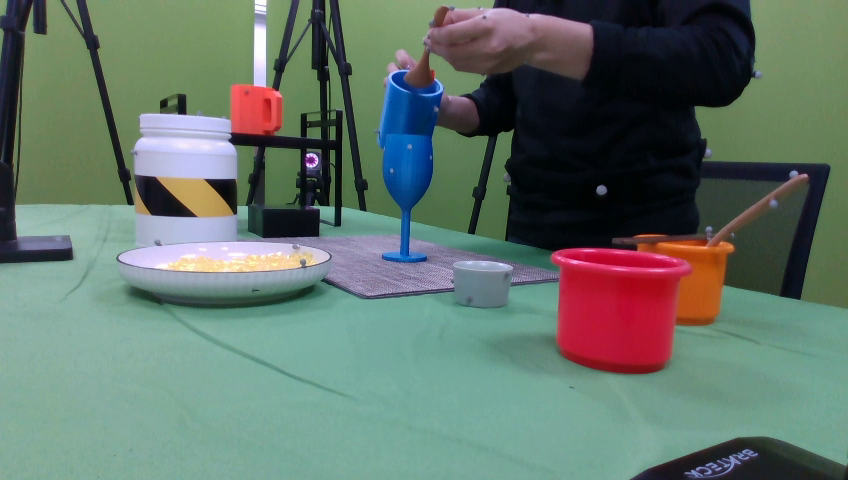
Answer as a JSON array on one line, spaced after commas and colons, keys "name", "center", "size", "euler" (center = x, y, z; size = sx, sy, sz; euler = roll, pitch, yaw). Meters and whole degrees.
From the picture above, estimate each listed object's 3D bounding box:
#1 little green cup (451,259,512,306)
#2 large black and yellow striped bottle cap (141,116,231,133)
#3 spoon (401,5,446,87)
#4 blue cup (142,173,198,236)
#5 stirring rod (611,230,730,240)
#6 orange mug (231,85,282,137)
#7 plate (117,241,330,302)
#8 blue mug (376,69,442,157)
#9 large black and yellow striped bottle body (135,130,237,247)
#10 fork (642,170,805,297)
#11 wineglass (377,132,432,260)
[{"name": "little green cup", "center": [0.057, 0.043, 0.611], "size": [0.061, 0.038, 0.061], "euler": [3, 8, 0]}, {"name": "large black and yellow striped bottle cap", "center": [-0.324, -0.157, 0.826], "size": [0.115, 0.019, 0.115], "euler": [1, 7, 0]}, {"name": "spoon", "center": [0.001, -0.240, 0.762], "size": [0.042, 0.021, 0.193], "euler": [10, -17, -7]}, {"name": "blue cup", "center": [-0.425, -0.060, 1.014], "size": [0.093, 0.100, 0.092], "euler": [4, 9, 0]}, {"name": "stirring rod", "center": [0.241, -0.005, 0.581], "size": [0.177, 0.006, 0.014], "euler": [-2, 10, -34]}, {"name": "orange mug", "center": [-0.335, -0.261, 1.225], "size": [0.125, 0.100, 0.084], "euler": [2, 6, 35]}, {"name": "plate", "center": [-0.203, 0.031, 0.630], "size": [0.209, 0.038, 0.209], "euler": [3, 7, 0]}, {"name": "blue mug", "center": [-0.029, -0.200, 0.916], "size": [0.083, 0.106, 0.116], "euler": [-1, 39, -19]}, {"name": "large black and yellow striped bottle body", "center": [-0.327, -0.074, 0.838], "size": [0.131, 0.184, 0.130], "euler": [2, 7, 0]}, {"name": "fork", "center": [0.261, 0.004, 0.545], "size": [0.028, 0.018, 0.207], "euler": [5, -37, -15]}, {"name": "wineglass", "center": [-0.026, -0.062, 0.841], "size": [0.074, 0.172, 0.073], "euler": [2, 8, 0]}]
